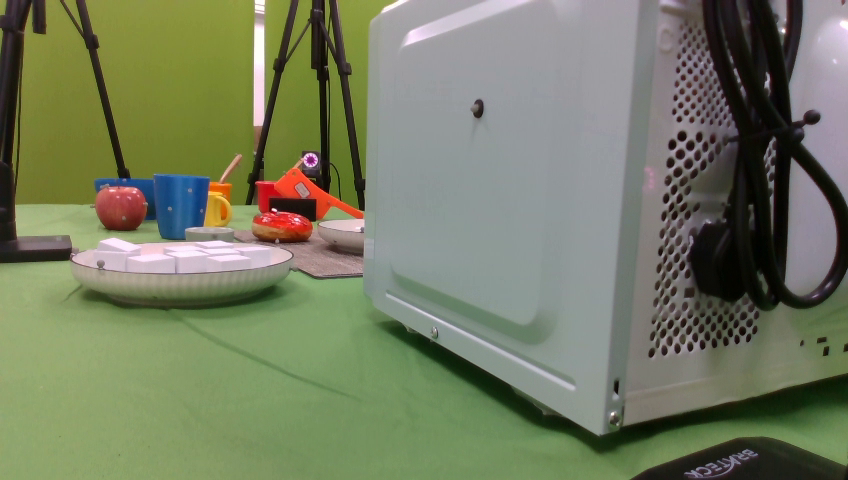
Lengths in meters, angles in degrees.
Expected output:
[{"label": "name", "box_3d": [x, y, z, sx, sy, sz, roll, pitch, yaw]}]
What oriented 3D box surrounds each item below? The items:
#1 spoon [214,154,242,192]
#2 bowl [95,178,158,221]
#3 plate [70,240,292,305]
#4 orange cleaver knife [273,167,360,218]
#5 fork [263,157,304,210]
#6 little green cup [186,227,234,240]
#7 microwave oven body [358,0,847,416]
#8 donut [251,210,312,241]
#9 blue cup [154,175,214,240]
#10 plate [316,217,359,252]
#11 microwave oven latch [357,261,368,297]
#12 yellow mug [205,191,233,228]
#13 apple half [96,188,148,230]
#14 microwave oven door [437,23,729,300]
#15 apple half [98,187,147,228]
[{"label": "spoon", "box_3d": [-0.439, -0.124, 1.318, 0.041, 0.193, 0.022, 5, -36, 16]}, {"label": "bowl", "box_3d": [-0.576, -0.081, 1.217, 0.151, 0.077, 0.151, 3, 8, 0]}, {"label": "plate", "box_3d": [-0.242, 0.031, 0.618, 0.208, 0.039, 0.207, 2, 8, 0]}, {"label": "orange cleaver knife", "box_3d": [-0.238, -0.091, 1.381, 0.212, 0.077, 0.012, 31, 0, -19]}, {"label": "fork", "box_3d": [-0.345, -0.143, 1.505, 0.028, 0.019, 0.207, -4, 46, 29]}, {"label": "little green cup", "box_3d": [-0.284, 0.005, 0.805, 0.061, 0.038, 0.061, 2, 8, 0]}, {"label": "microwave oven body", "box_3d": [0.211, -0.047, 0.474, 0.444, 0.260, 0.324, -1, 8, -28]}, {"label": "donut", "box_3d": [-0.231, -0.022, 0.983, 0.099, 0.048, 0.099, 5, 7, 0]}, {"label": "blue cup", "box_3d": [-0.390, -0.053, 0.978, 0.093, 0.100, 0.092, 3, 6, 0]}, {"label": "plate", "box_3d": [-0.064, -0.008, 0.943, 0.209, 0.038, 0.209, 3, 8, 0]}, {"label": "microwave oven latch", "box_3d": [-0.019, 0.033, 0.531, 0.079, 0.029, 0.030, -1, 7, -27]}, {"label": "yellow mug", "box_3d": [-0.415, -0.057, 1.132, 0.130, 0.064, 0.100, 6, 8, 16]}, {"label": "apple half", "box_3d": [-0.517, -0.052, 1.036, 0.081, 0.074, 0.053, 2, 10, -26]}, {"label": "microwave oven door", "box_3d": [0.181, -0.072, 0.621, 0.358, 0.243, 0.039, -2, 8, -29]}, {"label": "apple half", "box_3d": [-0.534, -0.059, 1.071, 0.082, 0.081, 0.032, -1, 12, -25]}]
